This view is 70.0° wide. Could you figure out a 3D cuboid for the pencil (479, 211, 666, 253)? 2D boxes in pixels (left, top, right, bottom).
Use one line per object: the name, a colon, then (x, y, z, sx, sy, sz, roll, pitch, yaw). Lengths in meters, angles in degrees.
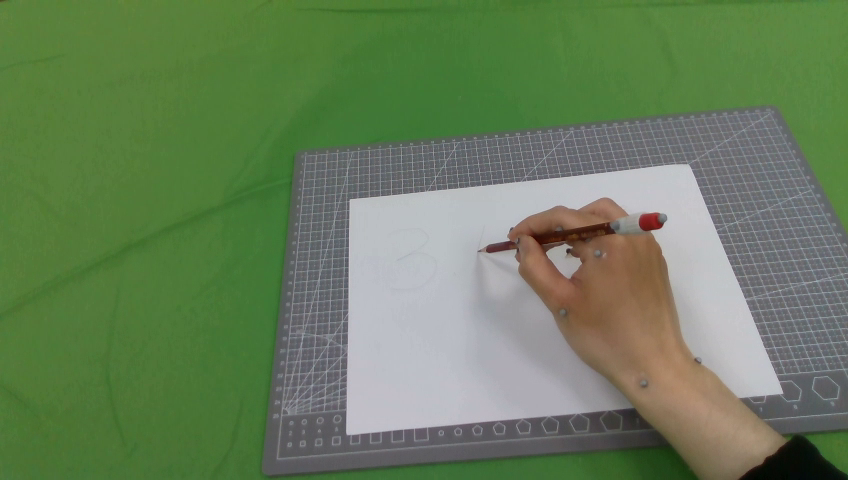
pencil: (0.084, -0.001, 0.403, 0.012, 0.193, 0.012, 2, 83, -24)
